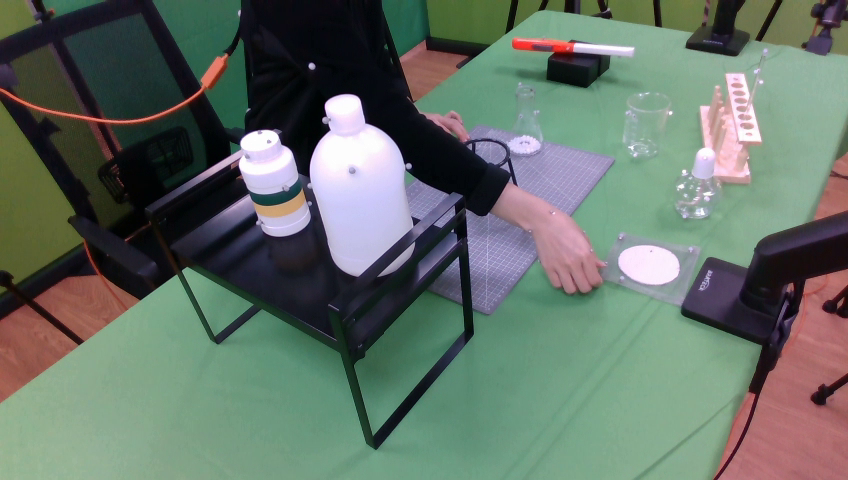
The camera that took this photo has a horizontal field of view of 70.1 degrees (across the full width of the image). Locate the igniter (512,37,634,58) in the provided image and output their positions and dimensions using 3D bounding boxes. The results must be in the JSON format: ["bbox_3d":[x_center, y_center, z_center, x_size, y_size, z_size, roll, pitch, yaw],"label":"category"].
[{"bbox_3d":[0.328,-0.433,1.360,0.275,0.025,0.057,12,33,20],"label":"igniter"}]

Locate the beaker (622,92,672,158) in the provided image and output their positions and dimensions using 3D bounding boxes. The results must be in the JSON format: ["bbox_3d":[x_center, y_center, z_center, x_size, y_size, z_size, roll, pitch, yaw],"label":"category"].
[{"bbox_3d":[0.402,-0.210,1.106,0.074,0.101,0.083,-9,40,-2],"label":"beaker"}]

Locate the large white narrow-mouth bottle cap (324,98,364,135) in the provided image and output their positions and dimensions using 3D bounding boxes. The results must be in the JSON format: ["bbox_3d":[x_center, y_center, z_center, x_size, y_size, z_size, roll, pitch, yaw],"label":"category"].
[{"bbox_3d":[-0.077,-0.120,0.585,0.038,0.024,0.037,-3,42,4],"label":"large white narrow-mouth bottle cap"}]

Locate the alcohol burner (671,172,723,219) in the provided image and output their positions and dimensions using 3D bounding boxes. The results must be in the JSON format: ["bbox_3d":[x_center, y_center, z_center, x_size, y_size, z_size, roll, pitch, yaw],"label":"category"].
[{"bbox_3d":[0.434,-0.093,0.955,0.078,0.119,0.077,-3,43,4],"label":"alcohol burner"}]

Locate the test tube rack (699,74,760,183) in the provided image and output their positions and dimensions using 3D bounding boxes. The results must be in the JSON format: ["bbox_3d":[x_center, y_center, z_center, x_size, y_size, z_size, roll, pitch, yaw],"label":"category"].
[{"bbox_3d":[0.547,-0.208,1.095,0.066,0.085,0.242,6,42,15],"label":"test tube rack"}]

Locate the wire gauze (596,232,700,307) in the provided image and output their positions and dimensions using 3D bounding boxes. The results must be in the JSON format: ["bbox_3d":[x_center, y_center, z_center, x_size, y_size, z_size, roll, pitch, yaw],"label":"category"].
[{"bbox_3d":[0.333,0.036,0.899,0.124,0.011,0.121,19,48,27],"label":"wire gauze"}]

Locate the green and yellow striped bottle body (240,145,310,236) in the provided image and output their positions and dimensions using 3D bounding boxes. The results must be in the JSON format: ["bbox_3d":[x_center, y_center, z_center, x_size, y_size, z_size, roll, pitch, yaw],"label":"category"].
[{"bbox_3d":[-0.181,-0.068,0.729,0.063,0.120,0.063,-4,40,4],"label":"green and yellow striped bottle body"}]

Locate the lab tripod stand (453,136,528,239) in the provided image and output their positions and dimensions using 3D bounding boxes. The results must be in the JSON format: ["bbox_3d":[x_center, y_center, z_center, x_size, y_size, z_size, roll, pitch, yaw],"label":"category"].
[{"bbox_3d":[0.094,-0.086,0.974,0.148,0.132,0.147,-4,43,4],"label":"lab tripod stand"}]

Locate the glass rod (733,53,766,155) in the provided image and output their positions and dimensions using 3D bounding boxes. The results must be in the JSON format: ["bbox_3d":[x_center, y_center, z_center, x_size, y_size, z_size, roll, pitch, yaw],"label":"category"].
[{"bbox_3d":[0.540,-0.219,1.006,0.008,0.201,0.008,-5,45,6],"label":"glass rod"}]

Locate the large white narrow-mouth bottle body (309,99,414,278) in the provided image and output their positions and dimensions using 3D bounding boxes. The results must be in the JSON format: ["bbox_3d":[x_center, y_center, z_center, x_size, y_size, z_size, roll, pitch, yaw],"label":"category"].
[{"bbox_3d":[-0.068,-0.057,0.645,0.102,0.195,0.101,-4,42,4],"label":"large white narrow-mouth bottle body"}]

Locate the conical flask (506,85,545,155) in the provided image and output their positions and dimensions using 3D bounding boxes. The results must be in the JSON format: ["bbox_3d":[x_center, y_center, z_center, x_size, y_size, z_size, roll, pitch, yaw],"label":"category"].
[{"bbox_3d":[0.190,-0.227,1.134,0.075,0.122,0.075,-4,41,4],"label":"conical flask"}]

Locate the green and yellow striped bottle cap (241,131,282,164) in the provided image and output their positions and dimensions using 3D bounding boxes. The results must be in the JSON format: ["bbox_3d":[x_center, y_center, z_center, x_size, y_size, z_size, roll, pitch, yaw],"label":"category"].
[{"bbox_3d":[-0.187,-0.107,0.695,0.045,0.020,0.045,-3,39,3],"label":"green and yellow striped bottle cap"}]

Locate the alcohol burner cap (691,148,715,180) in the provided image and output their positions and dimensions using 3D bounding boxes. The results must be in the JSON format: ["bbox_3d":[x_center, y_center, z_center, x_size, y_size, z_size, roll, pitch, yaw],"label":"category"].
[{"bbox_3d":[0.432,-0.120,0.930,0.034,0.048,0.033,-7,48,8],"label":"alcohol burner cap"}]
